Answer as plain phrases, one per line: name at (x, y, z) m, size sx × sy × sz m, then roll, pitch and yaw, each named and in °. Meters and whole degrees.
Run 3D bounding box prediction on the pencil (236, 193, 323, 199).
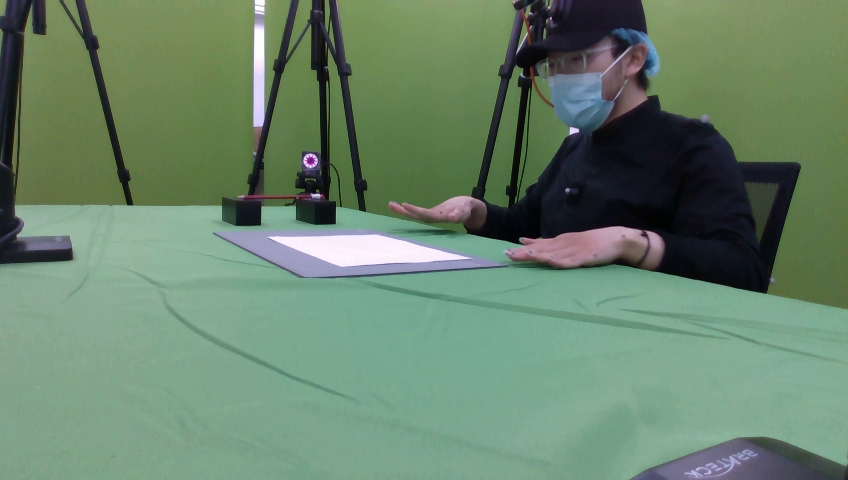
pencil at (-0.302, -0.092, 1.279) m, size 0.195 × 0.012 × 0.012 m, roll -4°, pitch 10°, yaw -36°
